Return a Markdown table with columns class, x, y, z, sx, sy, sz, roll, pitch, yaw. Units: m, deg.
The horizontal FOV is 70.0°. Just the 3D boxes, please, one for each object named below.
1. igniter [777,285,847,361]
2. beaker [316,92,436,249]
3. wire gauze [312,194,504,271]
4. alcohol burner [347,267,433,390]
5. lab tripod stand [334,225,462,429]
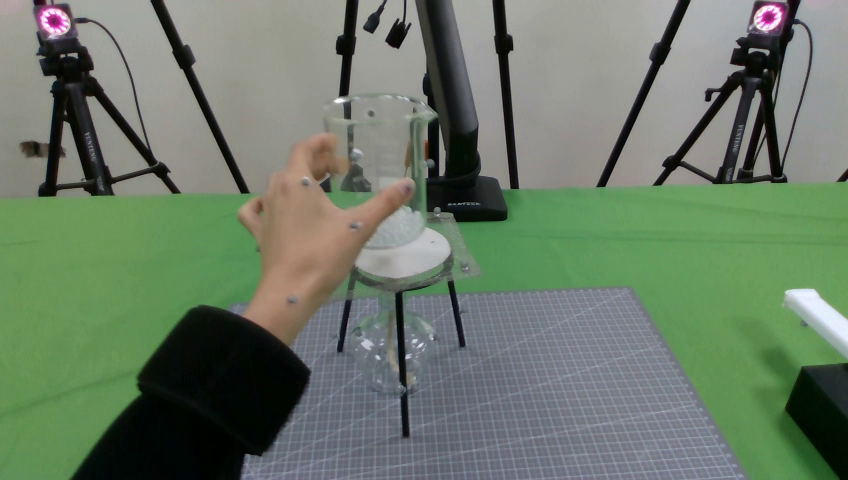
| class | x | y | z | sx | sy | sz | roll | pitch | yaw |
| --- | --- | --- | --- | --- | --- | --- | --- | --- | --- |
| igniter | 0.372 | 0.114 | 0.473 | 0.057 | 0.025 | 0.274 | -2 | 28 | -5 |
| beaker | -0.033 | -0.051 | 0.447 | 0.084 | 0.101 | 0.073 | -2 | 29 | -1 |
| wire gauze | -0.016 | -0.007 | 0.492 | 0.125 | 0.011 | 0.120 | -9 | 27 | -29 |
| alcohol burner | -0.030 | 0.074 | 0.539 | 0.078 | 0.120 | 0.077 | 2 | 31 | -1 |
| lab tripod stand | -0.021 | 0.067 | 0.532 | 0.148 | 0.132 | 0.147 | 2 | 32 | -1 |
